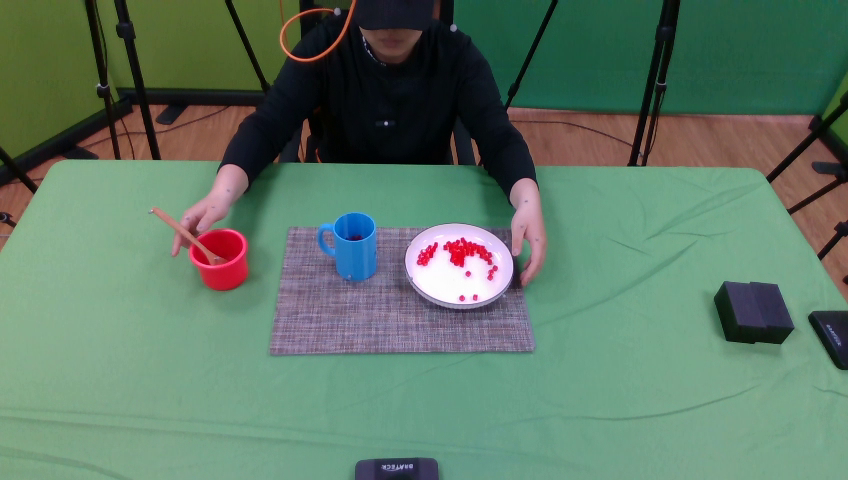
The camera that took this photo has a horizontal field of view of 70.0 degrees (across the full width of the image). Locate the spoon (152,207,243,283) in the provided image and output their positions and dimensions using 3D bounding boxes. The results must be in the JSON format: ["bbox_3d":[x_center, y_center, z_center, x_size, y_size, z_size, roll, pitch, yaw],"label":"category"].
[{"bbox_3d":[-0.401,0.008,1.076,0.194,0.021,0.041,48,49,-20],"label":"spoon"}]

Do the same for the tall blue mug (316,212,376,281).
[{"bbox_3d":[-0.142,0.014,1.109,0.107,0.108,0.077,-5,47,-8],"label":"tall blue mug"}]

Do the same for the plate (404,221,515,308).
[{"bbox_3d":[0.065,0.049,1.140,0.208,0.039,0.206,2,46,-2],"label":"plate"}]
